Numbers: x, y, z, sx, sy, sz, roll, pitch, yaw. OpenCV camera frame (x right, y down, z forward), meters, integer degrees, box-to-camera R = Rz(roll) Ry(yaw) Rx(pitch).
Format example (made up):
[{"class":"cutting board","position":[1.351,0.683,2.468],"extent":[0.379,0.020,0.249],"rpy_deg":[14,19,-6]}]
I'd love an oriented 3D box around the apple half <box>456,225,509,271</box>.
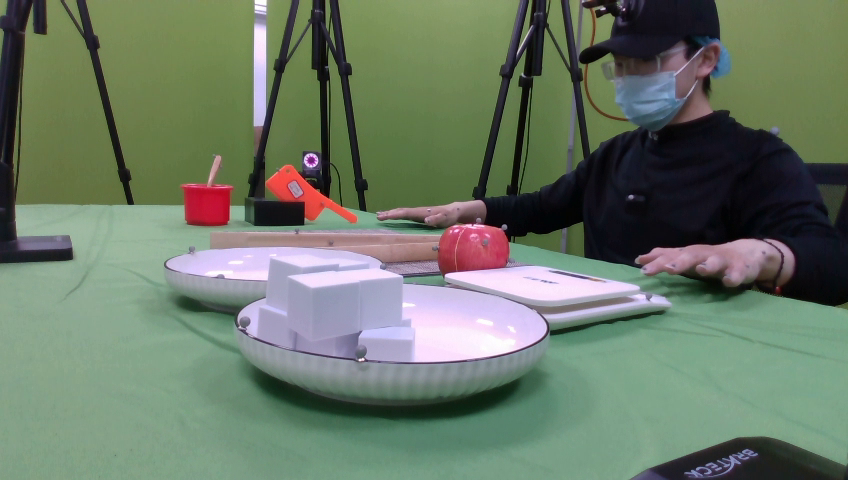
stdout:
[{"class":"apple half","position":[0.071,0.021,0.662],"extent":[0.082,0.081,0.032],"rpy_deg":[-4,7,-42]}]

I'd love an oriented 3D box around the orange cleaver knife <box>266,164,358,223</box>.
[{"class":"orange cleaver knife","position":[-0.238,-0.082,1.295],"extent":[0.212,0.077,0.012],"rpy_deg":[35,-9,-26]}]

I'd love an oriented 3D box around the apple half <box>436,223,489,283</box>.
[{"class":"apple half","position":[0.045,0.017,0.691],"extent":[0.081,0.074,0.053],"rpy_deg":[-9,10,-41]}]

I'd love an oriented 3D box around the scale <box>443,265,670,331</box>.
[{"class":"scale","position":[0.131,0.052,0.603],"extent":[0.202,0.031,0.148],"rpy_deg":[-2,9,-37]}]

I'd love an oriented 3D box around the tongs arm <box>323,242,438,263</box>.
[{"class":"tongs arm","position":[-0.070,0.017,0.800],"extent":[0.390,0.028,0.028],"rpy_deg":[-2,5,-34]}]

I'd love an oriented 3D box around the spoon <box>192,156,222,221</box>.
[{"class":"spoon","position":[-0.430,-0.108,1.222],"extent":[0.041,0.021,0.193],"rpy_deg":[-1,52,0]}]

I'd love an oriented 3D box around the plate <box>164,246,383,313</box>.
[{"class":"plate","position":[-0.145,0.038,0.600],"extent":[0.209,0.038,0.209],"rpy_deg":[2,7,0]}]

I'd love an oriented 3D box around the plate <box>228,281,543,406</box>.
[{"class":"plate","position":[-0.025,0.067,0.413],"extent":[0.208,0.039,0.207],"rpy_deg":[3,7,0]}]

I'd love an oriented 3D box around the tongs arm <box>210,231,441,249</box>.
[{"class":"tongs arm","position":[-0.106,0.004,0.876],"extent":[0.386,0.026,0.050],"rpy_deg":[0,7,-20]}]
